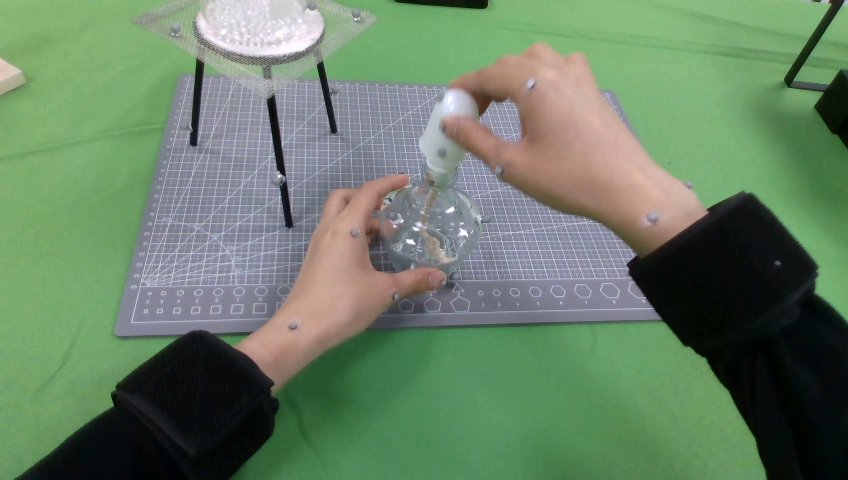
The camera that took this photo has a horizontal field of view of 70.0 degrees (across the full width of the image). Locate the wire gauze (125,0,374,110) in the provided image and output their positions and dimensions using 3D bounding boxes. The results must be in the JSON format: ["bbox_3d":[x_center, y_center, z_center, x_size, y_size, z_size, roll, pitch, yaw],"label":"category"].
[{"bbox_3d":[-0.117,-0.152,0.422,0.124,0.011,0.121,32,54,12],"label":"wire gauze"}]

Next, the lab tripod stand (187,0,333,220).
[{"bbox_3d":[-0.123,-0.110,0.471,0.149,0.132,0.147,6,49,-7],"label":"lab tripod stand"}]

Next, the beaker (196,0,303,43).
[{"bbox_3d":[-0.115,-0.185,0.384,0.073,0.101,0.084,31,53,16],"label":"beaker"}]

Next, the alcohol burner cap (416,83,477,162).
[{"bbox_3d":[0.016,-0.075,0.379,0.034,0.048,0.033,10,49,-11],"label":"alcohol burner cap"}]

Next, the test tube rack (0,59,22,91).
[{"bbox_3d":[-0.452,-0.117,0.457,0.066,0.086,0.241,30,51,16],"label":"test tube rack"}]

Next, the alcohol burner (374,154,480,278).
[{"bbox_3d":[0.005,-0.028,0.435,0.078,0.120,0.077,6,48,-6],"label":"alcohol burner"}]
